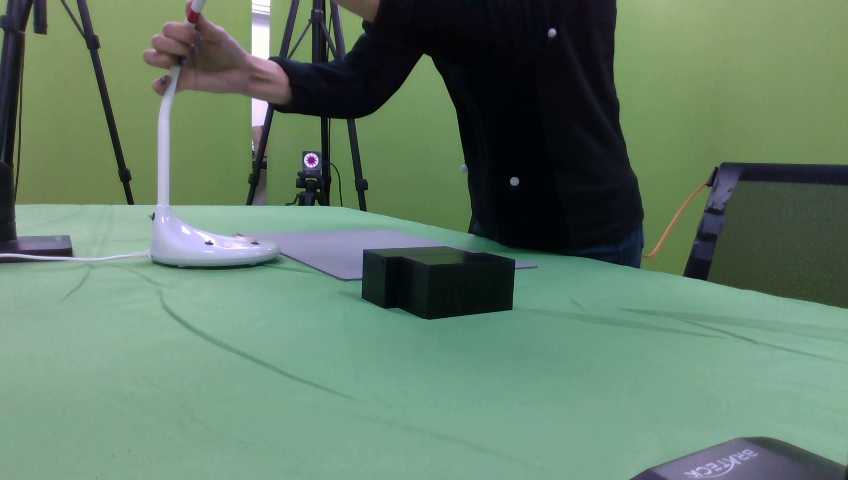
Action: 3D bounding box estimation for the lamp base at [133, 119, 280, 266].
[{"bbox_3d":[-0.279,-0.063,0.773,0.180,0.180,0.160,-9,11,-43],"label":"lamp base"}]
